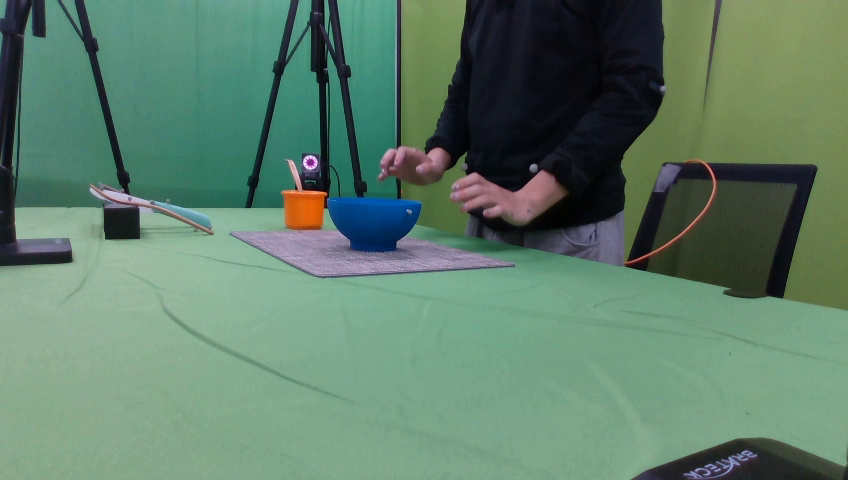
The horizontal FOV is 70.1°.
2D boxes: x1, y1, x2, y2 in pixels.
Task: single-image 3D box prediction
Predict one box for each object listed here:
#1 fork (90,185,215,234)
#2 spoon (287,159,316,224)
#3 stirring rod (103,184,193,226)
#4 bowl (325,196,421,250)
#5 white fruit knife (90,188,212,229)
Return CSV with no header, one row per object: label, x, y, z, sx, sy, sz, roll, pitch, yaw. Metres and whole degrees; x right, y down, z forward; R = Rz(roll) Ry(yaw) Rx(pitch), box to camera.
fork,-0.452,-0.049,1.018,0.208,0.018,0.028,21,-7,-33
spoon,-0.261,-0.104,1.263,0.042,0.193,0.021,0,-37,-28
stirring rod,-0.507,-0.063,1.129,0.177,0.006,0.014,27,1,-31
bowl,-0.081,-0.027,0.957,0.151,0.077,0.151,2,7,0
white fruit knife,-0.478,-0.058,1.073,0.208,0.027,0.016,17,-4,-30
